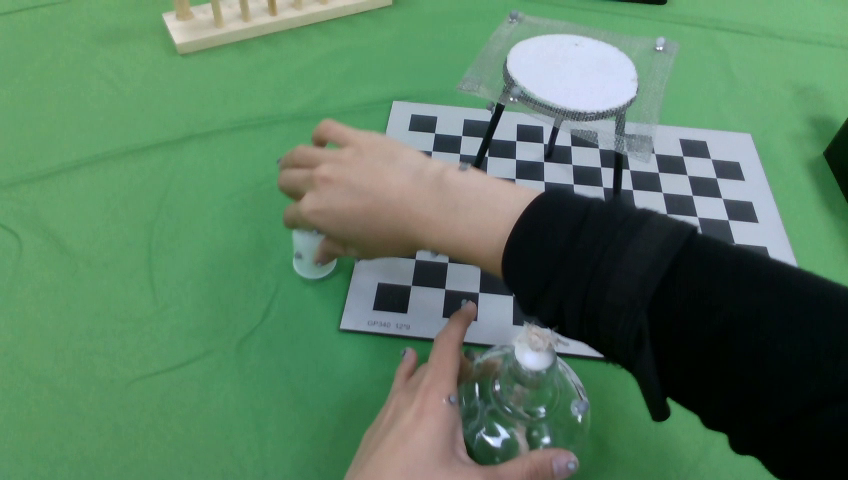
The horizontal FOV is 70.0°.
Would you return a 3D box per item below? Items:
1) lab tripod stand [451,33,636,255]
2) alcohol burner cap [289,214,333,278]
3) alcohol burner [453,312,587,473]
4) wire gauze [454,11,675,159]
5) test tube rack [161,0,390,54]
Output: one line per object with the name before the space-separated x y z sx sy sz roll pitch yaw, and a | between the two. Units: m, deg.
lab tripod stand | 0.097 -0.069 0.448 0.148 0.132 0.147 2 50 -3
alcohol burner cap | -0.083 0.001 0.437 0.034 0.048 0.033 4 51 -5
alcohol burner | 0.055 0.082 0.338 0.078 0.120 0.077 1 47 0
wire gauze | 0.095 -0.111 0.394 0.124 0.011 0.121 20 52 12
test tube rack | -0.160 -0.281 0.648 0.243 0.086 0.066 -21 55 -19
